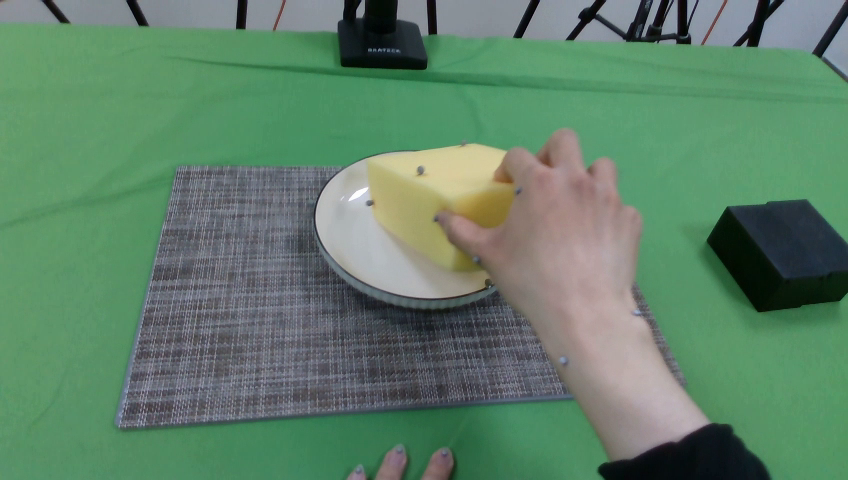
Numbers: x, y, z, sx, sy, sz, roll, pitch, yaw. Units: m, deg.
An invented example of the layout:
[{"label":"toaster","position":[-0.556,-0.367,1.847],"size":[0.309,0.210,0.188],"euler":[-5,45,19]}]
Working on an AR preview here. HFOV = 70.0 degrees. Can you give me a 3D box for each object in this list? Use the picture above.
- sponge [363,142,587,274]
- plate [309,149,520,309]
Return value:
[{"label":"sponge","position":[0.033,-0.038,0.527],"size":[0.118,0.061,0.205],"euler":[-11,19,-19]},{"label":"plate","position":[-0.005,-0.011,0.586],"size":[0.208,0.039,0.205],"euler":[5,45,-4]}]
